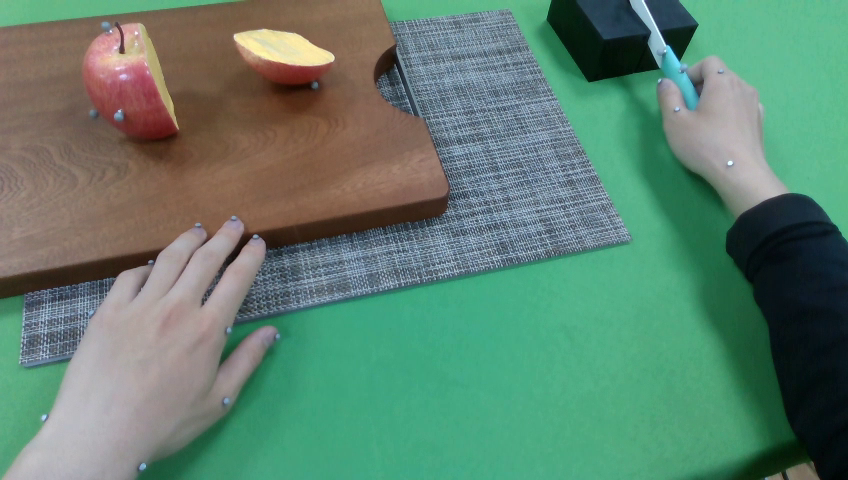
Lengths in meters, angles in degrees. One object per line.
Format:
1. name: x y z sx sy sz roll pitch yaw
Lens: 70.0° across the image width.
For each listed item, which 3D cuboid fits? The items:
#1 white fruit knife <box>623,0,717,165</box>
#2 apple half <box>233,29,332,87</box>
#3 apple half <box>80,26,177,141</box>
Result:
1. white fruit knife: 0.218 -0.165 0.557 0.016 0.027 0.206 -17 75 -12
2. apple half: -0.121 -0.146 0.505 0.081 0.033 0.080 13 34 -9
3. apple half: -0.225 -0.113 0.455 0.053 0.075 0.080 -19 64 -12
